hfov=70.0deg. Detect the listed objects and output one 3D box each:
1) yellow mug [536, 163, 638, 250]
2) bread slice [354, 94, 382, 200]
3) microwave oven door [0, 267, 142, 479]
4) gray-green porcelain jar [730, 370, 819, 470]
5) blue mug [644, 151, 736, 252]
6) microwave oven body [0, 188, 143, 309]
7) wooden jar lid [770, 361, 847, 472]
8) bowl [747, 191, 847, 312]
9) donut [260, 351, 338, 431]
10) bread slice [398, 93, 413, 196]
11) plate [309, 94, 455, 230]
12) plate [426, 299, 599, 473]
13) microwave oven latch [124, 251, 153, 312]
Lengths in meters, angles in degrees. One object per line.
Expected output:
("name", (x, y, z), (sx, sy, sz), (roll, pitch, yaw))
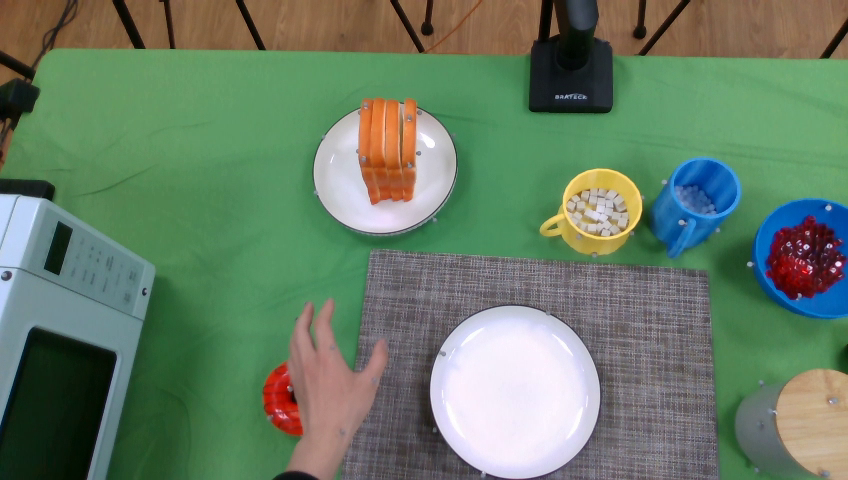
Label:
("yellow mug", (0.211, -0.039, 0.801), (0.131, 0.064, 0.099), (-18, 70, 0))
("bread slice", (-0.074, -0.132, 0.816), (0.018, 0.135, 0.106), (0, 67, 4))
("microwave oven door", (-0.423, 0.229, 0.655), (0.039, 0.245, 0.353), (3, 71, 7))
("gray-green porcelain jar", (0.409, 0.199, 0.670), (0.106, 0.127, 0.105), (-1, 71, 5))
("blue mug", (0.330, -0.039, 0.770), (0.082, 0.106, 0.116), (22, 75, 13))
("microwave oven body", (-0.563, 0.183, 0.689), (0.326, 0.262, 0.439), (3, 72, 6))
("wooden jar lid", (0.403, 0.177, 0.611), (0.108, 0.021, 0.107), (-1, 72, 3))
("bowl", (0.468, 0.023, 0.750), (0.151, 0.077, 0.150), (-2, 71, 5))
("donut", (-0.158, 0.192, 0.769), (0.099, 0.048, 0.098), (-1, 71, 3))
("bread slice", (-0.025, -0.130, 0.812), (0.019, 0.132, 0.104), (1, 73, -2))
("plate", (-0.059, -0.109, 0.865), (0.207, 0.039, 0.206), (-1, 71, 5))
("plate", (0.108, 0.177, 0.748), (0.209, 0.038, 0.207), (-2, 71, 5))
("microwave oven latch", (-0.391, 0.056, 0.819), (0.030, 0.030, 0.078), (7, 73, 7))
